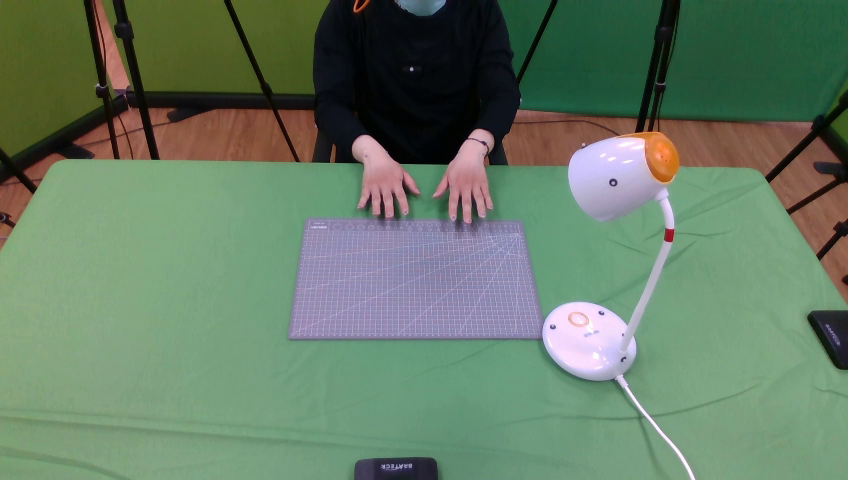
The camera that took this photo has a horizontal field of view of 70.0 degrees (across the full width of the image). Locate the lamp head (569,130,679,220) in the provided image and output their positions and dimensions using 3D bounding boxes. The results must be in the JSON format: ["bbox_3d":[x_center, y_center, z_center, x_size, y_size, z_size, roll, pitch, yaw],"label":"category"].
[{"bbox_3d":[0.272,-0.090,0.798,0.113,0.122,0.112,7,78,-33],"label":"lamp head"}]

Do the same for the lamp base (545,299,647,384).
[{"bbox_3d":[0.299,0.124,0.984,0.161,0.181,0.178,-23,55,-23],"label":"lamp base"}]
